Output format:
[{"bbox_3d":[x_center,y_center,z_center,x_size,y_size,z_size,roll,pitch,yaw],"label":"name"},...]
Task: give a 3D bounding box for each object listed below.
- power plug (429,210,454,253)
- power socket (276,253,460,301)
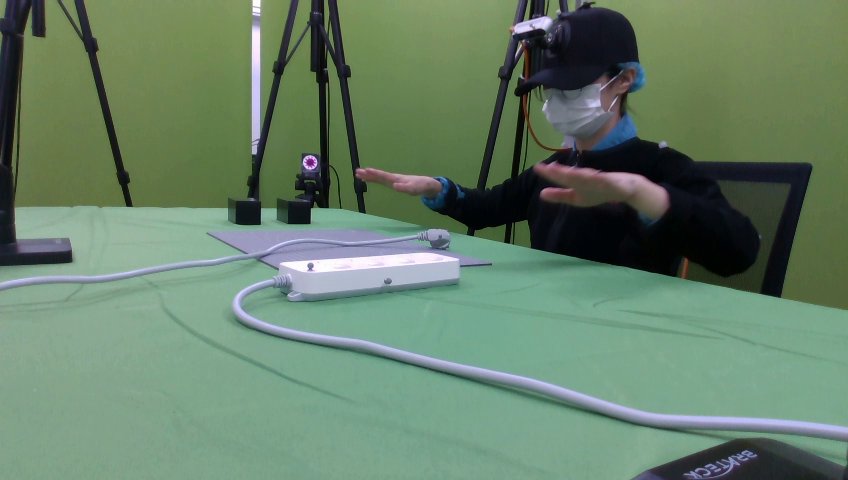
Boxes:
[{"bbox_3d":[0.025,-0.013,0.983,0.035,0.072,0.053,17,54,19],"label":"power plug"},{"bbox_3d":[-0.056,0.037,0.674,0.228,0.032,0.072,-3,8,-38],"label":"power socket"}]
